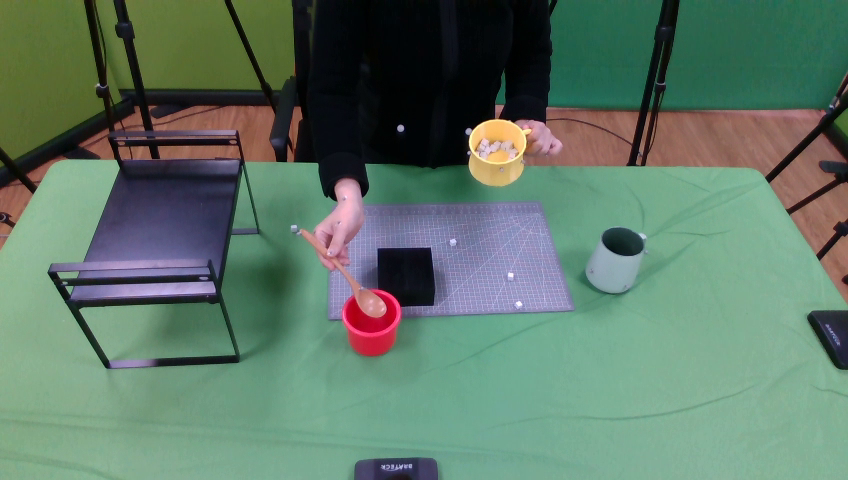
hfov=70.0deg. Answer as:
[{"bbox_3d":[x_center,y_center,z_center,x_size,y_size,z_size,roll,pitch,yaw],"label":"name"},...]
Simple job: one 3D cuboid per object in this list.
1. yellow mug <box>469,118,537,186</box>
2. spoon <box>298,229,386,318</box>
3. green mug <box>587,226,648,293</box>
[{"bbox_3d":[0.143,-0.161,1.069,0.131,0.064,0.099,-25,61,-11],"label":"yellow mug"},{"bbox_3d":[-0.133,0.052,0.981,0.194,0.021,0.041,50,50,-10],"label":"spoon"},{"bbox_3d":[0.372,0.030,1.136,0.125,0.105,0.092,-27,53,-26],"label":"green mug"}]
